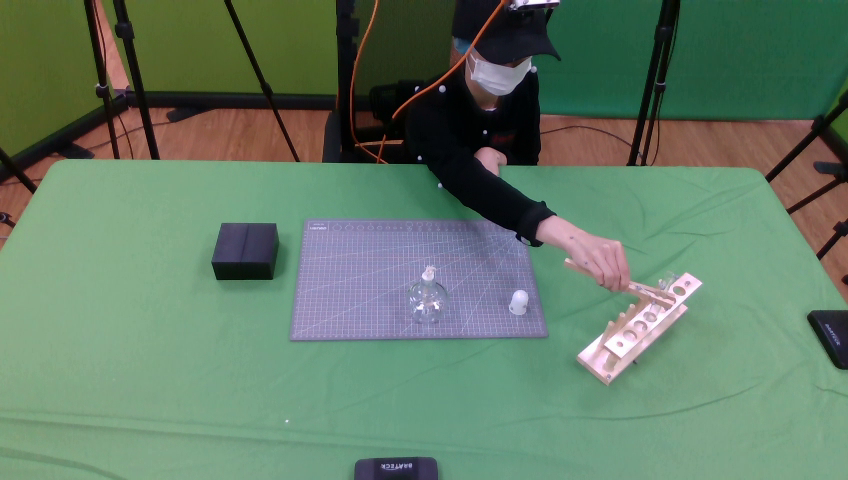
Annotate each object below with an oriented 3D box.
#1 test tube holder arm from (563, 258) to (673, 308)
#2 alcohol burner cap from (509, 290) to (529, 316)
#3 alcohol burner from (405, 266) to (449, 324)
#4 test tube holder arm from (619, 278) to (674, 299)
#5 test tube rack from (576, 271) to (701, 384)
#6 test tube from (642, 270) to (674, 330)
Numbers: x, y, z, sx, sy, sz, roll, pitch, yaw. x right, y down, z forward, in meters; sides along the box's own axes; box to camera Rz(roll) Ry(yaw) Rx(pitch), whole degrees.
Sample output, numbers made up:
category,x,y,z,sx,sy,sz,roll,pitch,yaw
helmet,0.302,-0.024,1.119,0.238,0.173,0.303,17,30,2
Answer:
category,x,y,z,sx,sy,sz,roll,pitch,yaw
test tube holder arm,0.311,0.068,0.977,0.178,0.015,0.013,21,47,15
alcohol burner cap,0.171,0.110,1.086,0.034,0.048,0.033,2,45,-1
alcohol burner,0.005,0.089,1.043,0.078,0.120,0.077,1,44,-1
test tube holder arm,0.354,0.079,0.971,0.088,0.015,0.010,15,46,9
test tube rack,0.373,0.138,1.047,0.242,0.085,0.066,-31,56,-29
test tube,0.375,0.101,0.976,0.017,0.151,0.017,-1,47,1
